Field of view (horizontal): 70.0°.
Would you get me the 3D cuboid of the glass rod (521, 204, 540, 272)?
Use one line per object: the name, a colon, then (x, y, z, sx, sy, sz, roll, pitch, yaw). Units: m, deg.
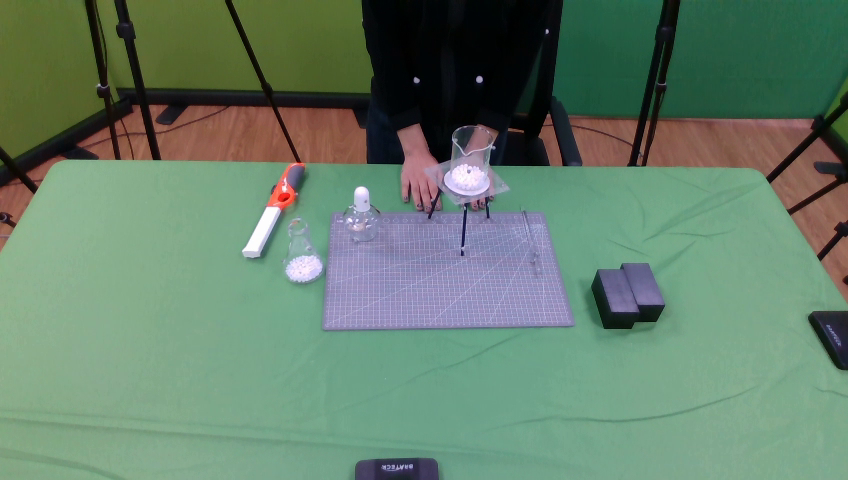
glass rod: (0.215, -0.008, 1.230, 0.008, 0.008, 0.198, 0, 43, -3)

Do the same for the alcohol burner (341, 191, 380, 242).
alcohol burner: (-0.123, -0.054, 1.175, 0.078, 0.119, 0.077, 4, 47, -4)

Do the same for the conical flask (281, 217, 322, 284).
conical flask: (-0.226, 0.016, 1.097, 0.075, 0.122, 0.075, 3, 46, -2)

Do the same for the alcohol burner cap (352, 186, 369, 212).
alcohol burner cap: (-0.121, -0.079, 1.149, 0.034, 0.048, 0.033, 1, 40, -1)

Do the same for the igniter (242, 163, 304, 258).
igniter: (-0.305, -0.069, 1.239, 0.057, 0.025, 0.275, 2, 45, 12)

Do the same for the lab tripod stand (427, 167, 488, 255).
lab tripod stand: (0.076, -0.068, 1.191, 0.148, 0.132, 0.147, 2, 44, -2)

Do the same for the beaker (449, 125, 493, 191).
beaker: (0.083, -0.146, 1.108, 0.074, 0.101, 0.083, 15, 47, 11)

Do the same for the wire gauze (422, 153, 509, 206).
wire gauze: (0.078, -0.114, 1.144, 0.125, 0.011, 0.120, -21, 49, -20)
